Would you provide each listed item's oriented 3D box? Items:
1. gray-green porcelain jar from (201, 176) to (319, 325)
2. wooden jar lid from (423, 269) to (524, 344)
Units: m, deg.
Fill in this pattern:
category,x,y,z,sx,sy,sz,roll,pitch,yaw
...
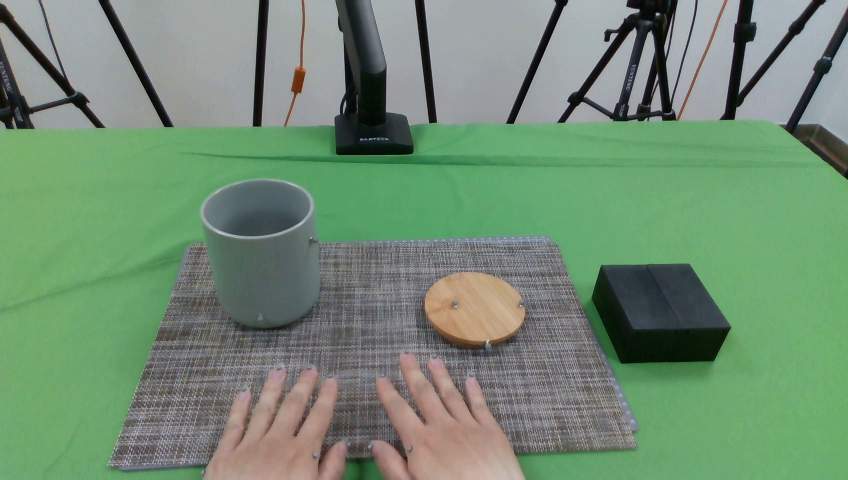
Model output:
category,x,y,z,sx,sy,sz,roll,pitch,yaw
gray-green porcelain jar,-0.162,0.015,0.618,0.106,0.127,0.105,2,37,-1
wooden jar lid,0.053,0.072,0.651,0.108,0.021,0.107,4,38,-2
